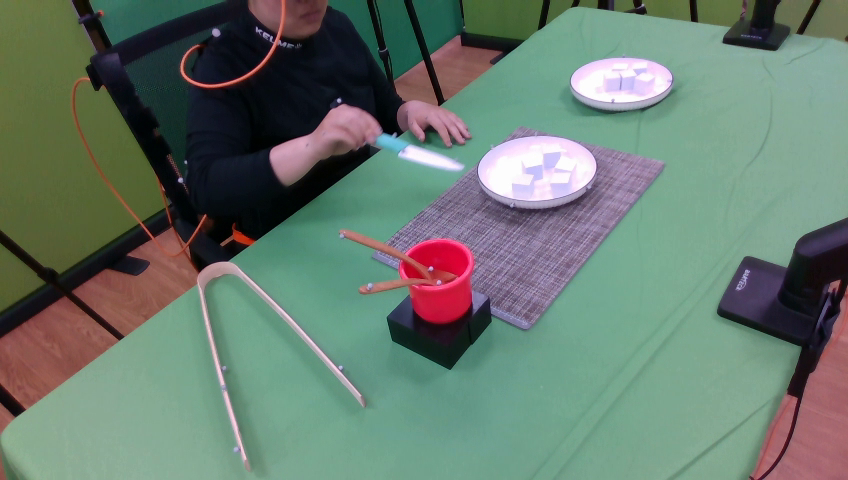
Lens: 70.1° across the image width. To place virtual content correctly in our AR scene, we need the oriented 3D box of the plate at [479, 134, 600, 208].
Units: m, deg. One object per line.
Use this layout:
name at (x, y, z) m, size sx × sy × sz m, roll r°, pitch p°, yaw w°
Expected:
plate at (0.202, -0.117, 1.065) m, size 0.207 × 0.039 × 0.206 m, roll -5°, pitch 40°, yaw 5°

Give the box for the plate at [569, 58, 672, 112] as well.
plate at (0.411, -0.323, 1.274) m, size 0.209 × 0.038 × 0.208 m, roll -5°, pitch 41°, yaw 5°

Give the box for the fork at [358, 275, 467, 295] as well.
fork at (-0.009, 0.056, 0.739) m, size 0.028 × 0.018 × 0.209 m, roll 48°, pitch 23°, yaw 26°

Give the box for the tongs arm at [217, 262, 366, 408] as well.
tongs arm at (-0.200, 0.123, 0.872) m, size 0.028 × 0.028 × 0.384 m, roll -35°, pitch 46°, yaw -25°

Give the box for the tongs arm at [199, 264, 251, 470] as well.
tongs arm at (-0.270, 0.154, 0.841) m, size 0.051 × 0.026 × 0.381 m, roll -23°, pitch 40°, yaw -17°

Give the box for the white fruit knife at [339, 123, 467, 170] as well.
white fruit knife at (-0.032, -0.143, 0.928) m, size 0.207 × 0.016 × 0.027 m, roll 19°, pitch 78°, yaw 11°

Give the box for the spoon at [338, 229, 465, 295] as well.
spoon at (-0.025, 0.026, 0.776) m, size 0.021 × 0.195 × 0.041 m, roll -41°, pitch 34°, yaw 32°
